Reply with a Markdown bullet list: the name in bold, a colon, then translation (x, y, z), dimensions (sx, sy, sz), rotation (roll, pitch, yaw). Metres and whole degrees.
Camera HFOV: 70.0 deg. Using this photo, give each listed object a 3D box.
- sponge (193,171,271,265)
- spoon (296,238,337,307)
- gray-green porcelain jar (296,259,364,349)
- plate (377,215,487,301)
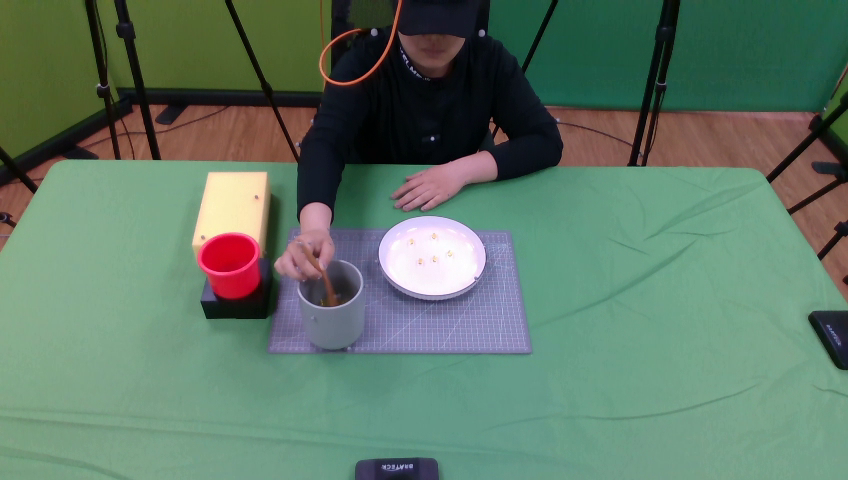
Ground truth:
- **sponge**: translation (-0.371, -0.047, 1.189), dimensions (0.118, 0.061, 0.205), rotation (-3, 46, -6)
- **spoon**: translation (-0.163, 0.066, 0.971), dimensions (0.021, 0.195, 0.041), rotation (-17, 39, -1)
- **gray-green porcelain jar**: translation (-0.152, 0.111, 1.003), dimensions (0.106, 0.127, 0.105), rotation (2, 46, -2)
- **plate**: translation (0.015, 0.037, 1.147), dimensions (0.208, 0.039, 0.206), rotation (2, 46, -2)
